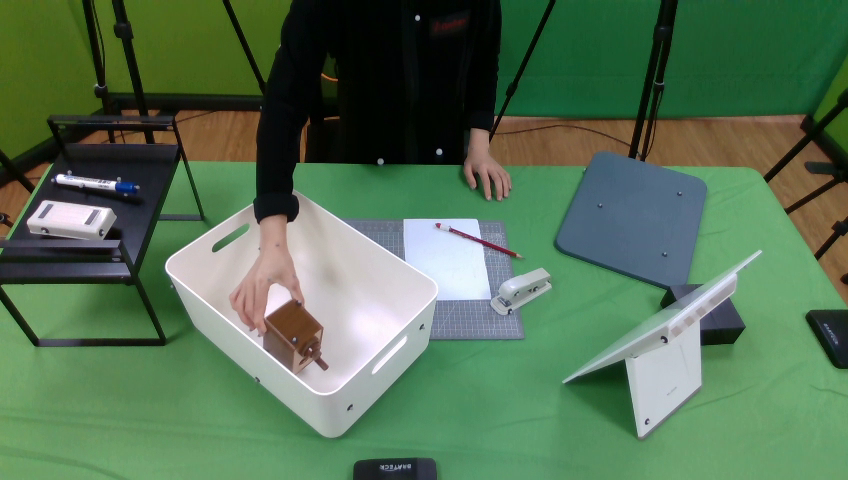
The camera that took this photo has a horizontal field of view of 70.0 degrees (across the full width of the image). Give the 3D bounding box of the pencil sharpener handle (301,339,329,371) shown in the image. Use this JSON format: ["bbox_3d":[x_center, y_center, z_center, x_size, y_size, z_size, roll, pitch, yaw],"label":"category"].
[{"bbox_3d":[-0.159,0.177,0.914,0.030,0.068,0.036,41,69,16],"label":"pencil sharpener handle"}]

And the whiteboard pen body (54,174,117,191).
[{"bbox_3d":[-0.541,-0.093,0.993,0.140,0.017,0.017,7,46,9],"label":"whiteboard pen body"}]

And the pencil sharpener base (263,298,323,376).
[{"bbox_3d":[-0.202,0.154,0.936,0.076,0.107,0.061,41,55,16],"label":"pencil sharpener base"}]

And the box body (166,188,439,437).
[{"bbox_3d":[-0.190,0.108,0.980,0.362,0.161,0.254,32,52,24],"label":"box body"}]

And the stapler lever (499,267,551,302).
[{"bbox_3d":[0.185,0.076,1.101,0.118,0.040,0.026,-25,57,-29],"label":"stapler lever"}]

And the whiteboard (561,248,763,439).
[{"bbox_3d":[0.386,0.176,0.905,0.217,0.306,0.143,-26,72,-27],"label":"whiteboard"}]

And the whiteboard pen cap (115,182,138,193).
[{"bbox_3d":[-0.483,-0.086,0.984,0.033,0.018,0.018,7,46,10],"label":"whiteboard pen cap"}]

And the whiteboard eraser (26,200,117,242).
[{"bbox_3d":[-0.532,-0.026,0.919,0.113,0.042,0.055,7,45,3],"label":"whiteboard eraser"}]

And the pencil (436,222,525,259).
[{"bbox_3d":[0.112,0.001,1.210,0.193,0.012,0.012,22,49,14],"label":"pencil"}]

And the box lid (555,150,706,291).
[{"bbox_3d":[0.451,-0.059,1.297,0.263,0.015,0.370,20,49,14],"label":"box lid"}]

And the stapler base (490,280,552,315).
[{"bbox_3d":[0.181,0.094,1.118,0.130,0.024,0.041,-24,57,-29],"label":"stapler base"}]
